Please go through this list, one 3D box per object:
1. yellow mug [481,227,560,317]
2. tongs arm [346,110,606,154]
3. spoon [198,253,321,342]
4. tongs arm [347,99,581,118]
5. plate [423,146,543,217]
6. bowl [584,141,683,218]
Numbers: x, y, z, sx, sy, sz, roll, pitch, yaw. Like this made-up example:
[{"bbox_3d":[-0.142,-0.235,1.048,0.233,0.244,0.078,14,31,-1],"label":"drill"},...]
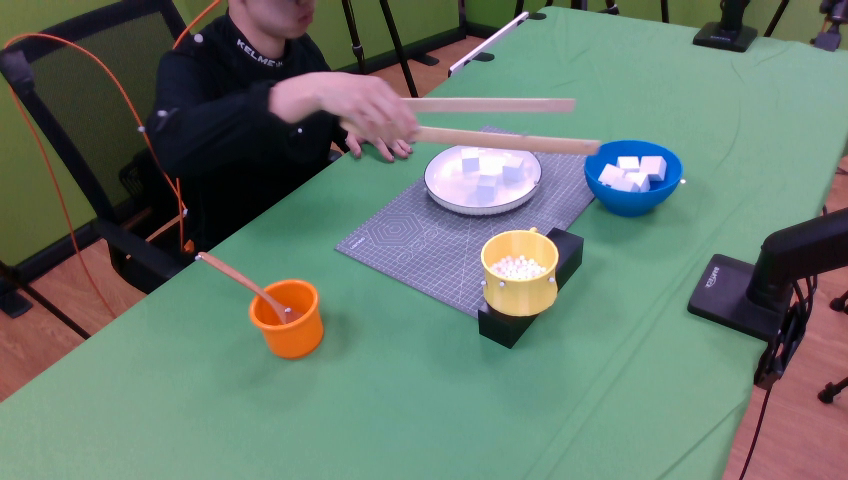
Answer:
[{"bbox_3d":[0.131,0.032,0.801,0.099,0.064,0.131,11,43,20],"label":"yellow mug"},{"bbox_3d":[0.078,-0.160,0.899,0.386,0.026,0.050,1,44,-8],"label":"tongs arm"},{"bbox_3d":[-0.220,0.075,0.814,0.021,0.194,0.041,-36,19,39],"label":"spoon"},{"bbox_3d":[0.070,-0.205,0.948,0.389,0.028,0.028,-5,48,-15],"label":"tongs arm"},{"bbox_3d":[0.103,-0.104,1.059,0.207,0.039,0.206,-4,40,4],"label":"plate"},{"bbox_3d":[0.335,-0.089,0.982,0.151,0.077,0.150,-4,40,3],"label":"bowl"}]
